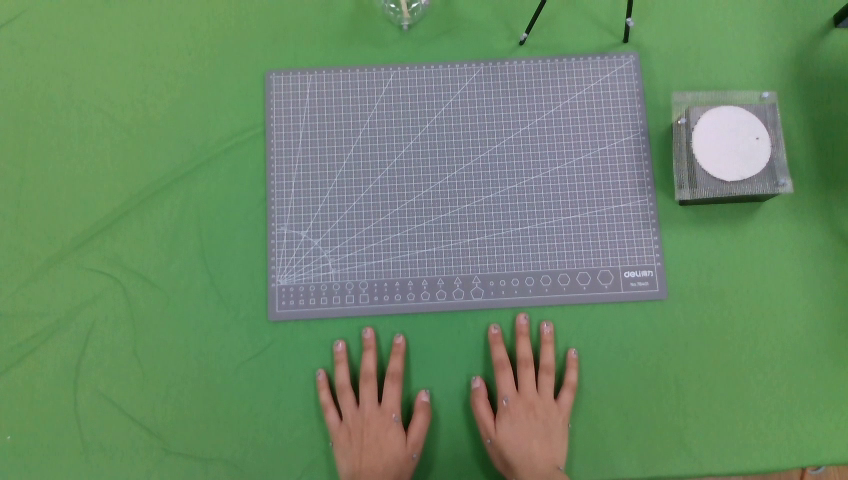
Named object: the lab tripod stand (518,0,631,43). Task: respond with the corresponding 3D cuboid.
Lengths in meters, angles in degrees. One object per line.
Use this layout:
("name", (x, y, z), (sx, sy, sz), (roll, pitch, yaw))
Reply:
("lab tripod stand", (0.181, -0.287, 0.681), (0.148, 0.132, 0.147), (0, 79, -2))

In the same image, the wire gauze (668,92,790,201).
("wire gauze", (0.330, -0.105, 0.663), (0.121, 0.011, 0.124), (0, 79, 3))

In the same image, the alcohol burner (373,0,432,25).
("alcohol burner", (-0.025, -0.300, 0.692), (0.078, 0.119, 0.077), (0, 80, -2))
